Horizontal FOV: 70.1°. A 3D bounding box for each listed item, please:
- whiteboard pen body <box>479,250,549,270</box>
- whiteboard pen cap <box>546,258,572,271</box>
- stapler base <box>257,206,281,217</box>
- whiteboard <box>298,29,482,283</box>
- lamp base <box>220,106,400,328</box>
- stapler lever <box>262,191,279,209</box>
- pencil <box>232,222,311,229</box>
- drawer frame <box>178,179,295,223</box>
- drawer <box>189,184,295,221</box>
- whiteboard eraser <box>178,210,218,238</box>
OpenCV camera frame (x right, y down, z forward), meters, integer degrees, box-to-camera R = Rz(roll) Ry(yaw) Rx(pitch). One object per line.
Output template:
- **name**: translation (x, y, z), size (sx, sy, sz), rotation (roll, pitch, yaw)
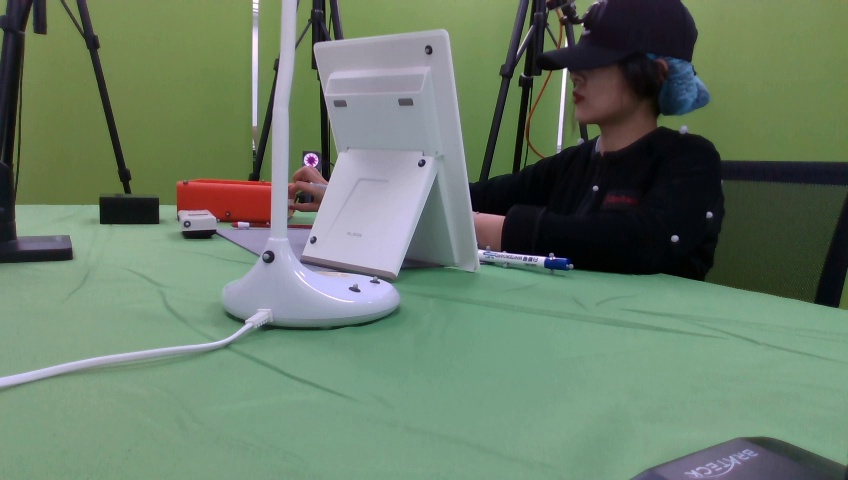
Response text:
- **whiteboard pen body**: translation (0.130, 0.028, 0.827), size (0.140, 0.017, 0.017), rotation (7, 9, 38)
- **whiteboard pen cap**: translation (0.175, 0.032, 0.790), size (0.033, 0.018, 0.018), rotation (3, 6, 37)
- **stapler base**: translation (-0.332, -0.065, 1.306), size (0.041, 0.024, 0.130), rotation (9, -1, -9)
- **whiteboard**: translation (-0.075, -0.082, 0.741), size (0.216, 0.305, 0.144), rotation (9, 29, 37)
- **lamp base**: translation (-0.101, -0.023, 0.531), size (0.160, 0.180, 0.179), rotation (4, 10, 10)
- **stapler lever**: translation (-0.330, -0.086, 1.306), size (0.027, 0.040, 0.118), rotation (9, 3, -9)
- **pencil**: translation (-0.261, -0.025, 1.141), size (0.195, 0.012, 0.012), rotation (2, 7, -26)
- **drawer frame**: translation (-0.397, -0.088, 1.315), size (0.214, 0.082, 0.201), rotation (1, 8, -7)
- **drawer**: translation (-0.395, -0.087, 1.317), size (0.212, 0.073, 0.194), rotation (2, 8, -7)
- **whiteboard eraser**: translation (-0.380, -0.027, 1.014), size (0.056, 0.042, 0.112), rotation (0, 8, -25)
